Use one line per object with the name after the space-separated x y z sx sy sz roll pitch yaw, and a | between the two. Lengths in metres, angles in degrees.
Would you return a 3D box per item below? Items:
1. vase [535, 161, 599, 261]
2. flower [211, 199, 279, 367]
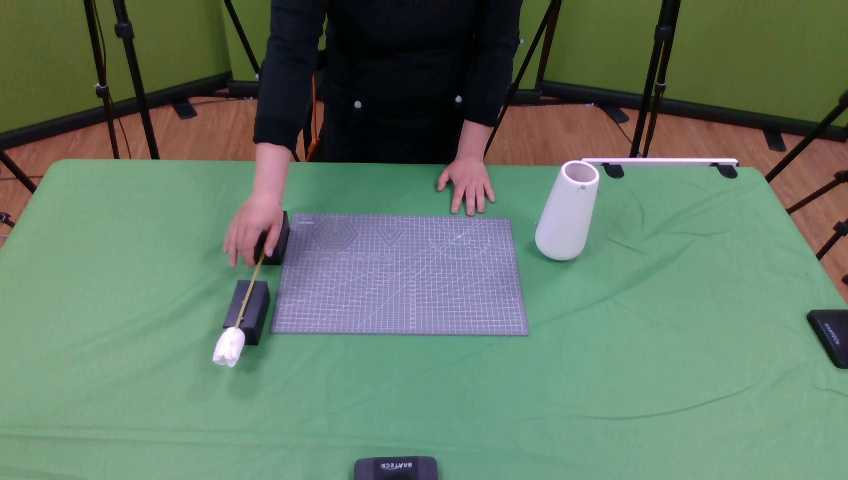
0.271 -0.051 1.145 0.098 0.201 0.097 1 46 -1 | vase
-0.297 0.056 1.055 0.044 0.038 0.359 -16 44 24 | flower
